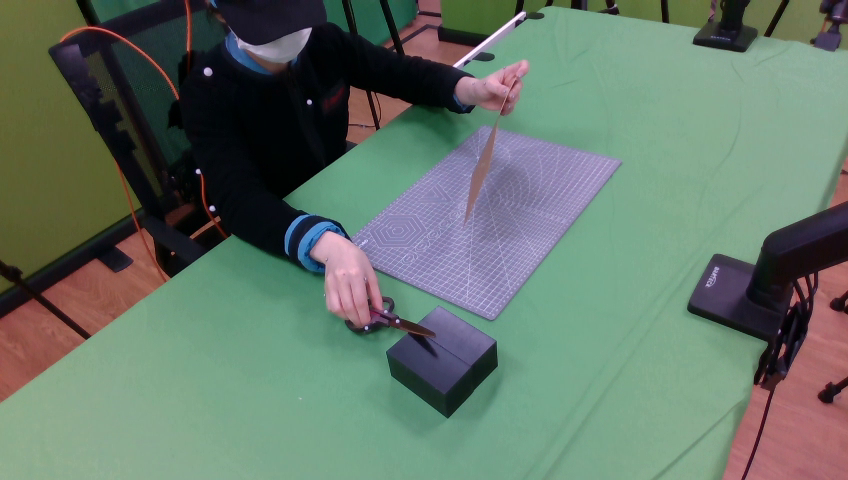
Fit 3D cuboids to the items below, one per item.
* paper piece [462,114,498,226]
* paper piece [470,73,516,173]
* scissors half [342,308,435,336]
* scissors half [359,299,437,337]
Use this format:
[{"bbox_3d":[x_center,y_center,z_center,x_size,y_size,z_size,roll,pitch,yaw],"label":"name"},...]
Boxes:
[{"bbox_3d":[0.086,-0.109,0.940,0.004,0.135,0.135,18,47,-3],"label":"paper piece"},{"bbox_3d":[0.120,-0.200,1.031,0.008,0.136,0.138,25,47,1],"label":"paper piece"},{"bbox_3d":[-0.050,0.112,0.799,0.174,0.013,0.040,3,22,41],"label":"scissors half"},{"bbox_3d":[-0.035,0.105,0.811,0.040,0.013,0.173,-27,23,-27],"label":"scissors half"}]
